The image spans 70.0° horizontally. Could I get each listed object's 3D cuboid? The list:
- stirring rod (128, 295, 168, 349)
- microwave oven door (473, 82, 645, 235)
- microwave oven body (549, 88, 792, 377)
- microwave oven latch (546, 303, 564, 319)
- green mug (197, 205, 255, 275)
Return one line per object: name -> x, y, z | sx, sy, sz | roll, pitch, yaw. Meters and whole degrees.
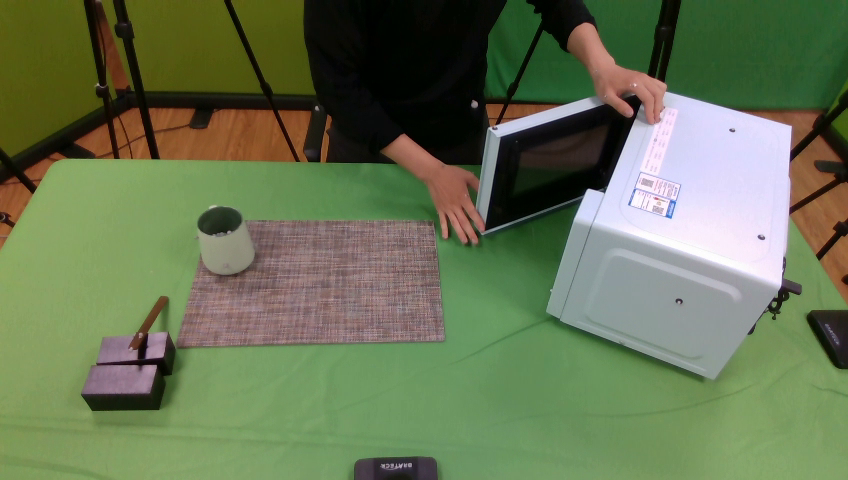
stirring rod -> -0.451, 0.131, 0.996 | 0.014, 0.006, 0.175 | 9, 20, -10
microwave oven door -> 0.266, -0.161, 1.195 | 0.356, 0.245, 0.039 | -20, 50, -22
microwave oven body -> 0.456, -0.028, 1.088 | 0.325, 0.261, 0.440 | 20, 47, 16
microwave oven latch -> 0.242, 0.102, 1.081 | 0.030, 0.029, 0.079 | 22, 48, 17
green mug -> -0.370, -0.008, 1.114 | 0.092, 0.105, 0.124 | -19, 50, -21
